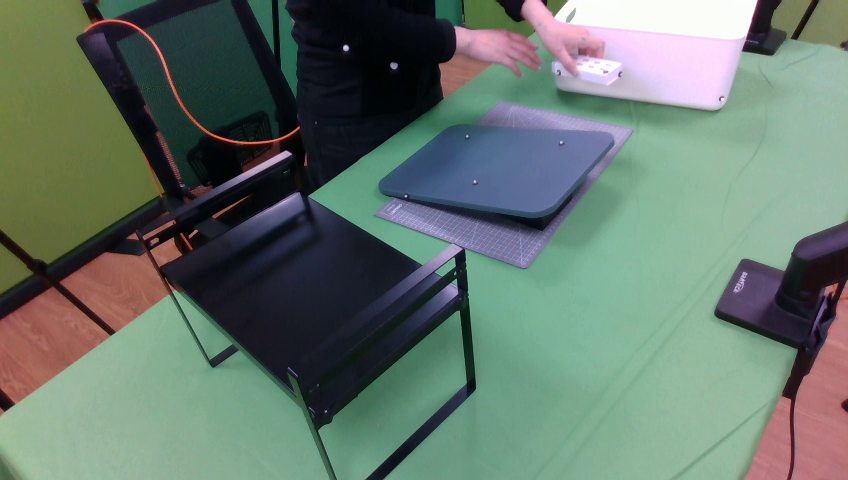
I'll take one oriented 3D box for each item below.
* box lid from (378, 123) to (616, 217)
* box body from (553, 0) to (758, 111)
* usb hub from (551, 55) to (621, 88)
[{"bbox_3d":[0.118,-0.136,1.071,0.368,0.015,0.264,12,42,38],"label":"box lid"},{"bbox_3d":[0.480,-0.417,1.282,0.362,0.161,0.254,15,46,24],"label":"box body"},{"bbox_3d":[0.302,-0.317,1.131,0.049,0.025,0.124,-38,45,-26],"label":"usb hub"}]
